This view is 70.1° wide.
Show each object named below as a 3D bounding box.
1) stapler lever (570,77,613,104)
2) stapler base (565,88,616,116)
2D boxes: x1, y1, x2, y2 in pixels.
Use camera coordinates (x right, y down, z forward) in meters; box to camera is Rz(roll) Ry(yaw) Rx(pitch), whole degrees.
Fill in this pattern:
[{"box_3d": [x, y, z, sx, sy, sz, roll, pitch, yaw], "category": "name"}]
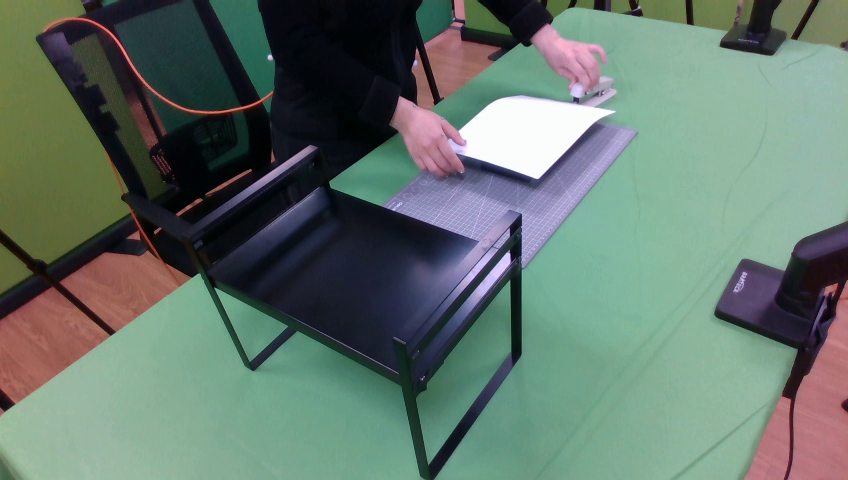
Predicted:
[{"box_3d": [0.349, -0.319, 1.257, 0.118, 0.040, 0.026, -32, 48, -28], "category": "stapler lever"}, {"box_3d": [0.350, -0.299, 1.272, 0.131, 0.024, 0.041, -32, 48, -28], "category": "stapler base"}]
